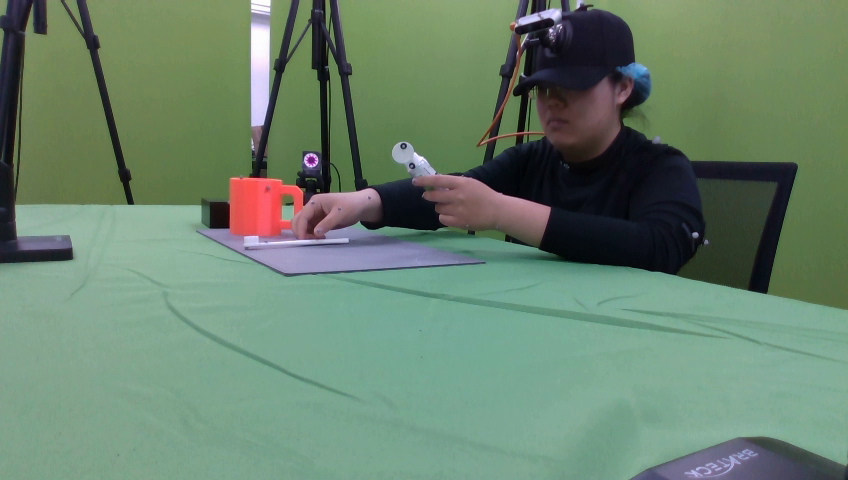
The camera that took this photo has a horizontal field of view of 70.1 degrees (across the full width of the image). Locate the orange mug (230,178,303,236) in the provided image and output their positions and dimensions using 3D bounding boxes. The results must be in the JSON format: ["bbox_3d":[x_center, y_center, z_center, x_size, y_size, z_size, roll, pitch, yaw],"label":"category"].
[{"bbox_3d":[-0.275,-0.060,1.058,0.126,0.101,0.083,-2,8,-5],"label":"orange mug"}]

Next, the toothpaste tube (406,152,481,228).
[{"bbox_3d":[0.028,-0.079,0.970,0.165,0.034,0.055,46,-9,-14],"label":"toothpaste tube"}]

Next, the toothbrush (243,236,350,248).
[{"bbox_3d":[-0.191,0.002,0.927,0.183,0.016,0.014,-1,-10,-41],"label":"toothbrush"}]

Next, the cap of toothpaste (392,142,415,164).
[{"bbox_3d":[-0.031,-0.134,0.929,0.037,0.037,0.011,0,31,-13],"label":"cap of toothpaste"}]
